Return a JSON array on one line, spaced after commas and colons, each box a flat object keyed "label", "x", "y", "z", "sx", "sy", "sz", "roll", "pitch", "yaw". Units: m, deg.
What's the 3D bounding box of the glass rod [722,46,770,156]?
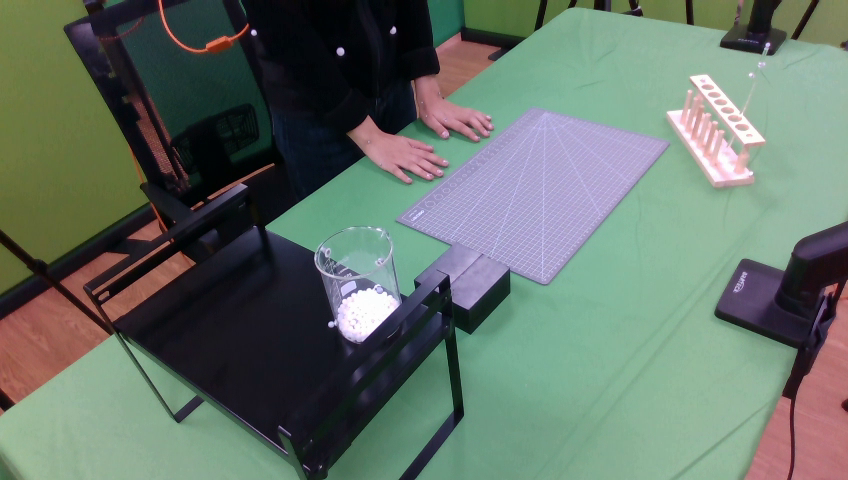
[{"label": "glass rod", "x": 0.533, "y": -0.226, "z": 1.006, "sx": 0.008, "sy": 0.200, "sz": 0.008, "roll": 1, "pitch": 41, "yaw": -1}]

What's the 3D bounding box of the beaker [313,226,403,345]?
[{"label": "beaker", "x": -0.059, "y": 0.046, "z": 0.594, "sx": 0.073, "sy": 0.101, "sz": 0.084, "roll": 23, "pitch": 49, "yaw": 30}]

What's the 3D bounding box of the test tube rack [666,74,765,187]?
[{"label": "test tube rack", "x": 0.512, "y": -0.201, "z": 1.082, "sx": 0.067, "sy": 0.085, "sz": 0.241, "roll": -6, "pitch": 41, "yaw": 2}]
